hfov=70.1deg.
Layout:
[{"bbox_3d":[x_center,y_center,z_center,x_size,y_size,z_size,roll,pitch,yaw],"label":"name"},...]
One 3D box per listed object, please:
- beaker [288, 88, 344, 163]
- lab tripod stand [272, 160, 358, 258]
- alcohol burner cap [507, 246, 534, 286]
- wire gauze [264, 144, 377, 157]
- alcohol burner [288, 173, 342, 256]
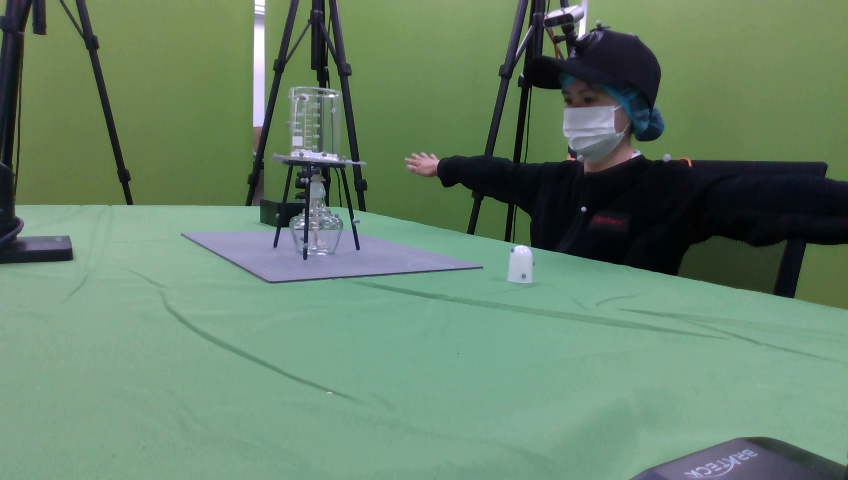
[{"bbox_3d":[-0.158,-0.160,0.859,0.084,0.100,0.074,5,6,20],"label":"beaker"},{"bbox_3d":[-0.159,-0.048,0.876,0.148,0.131,0.148,3,5,0],"label":"lab tripod stand"},{"bbox_3d":[0.119,0.032,0.740,0.034,0.048,0.034,1,6,0],"label":"alcohol burner cap"},{"bbox_3d":[-0.151,-0.128,0.869,0.122,0.011,0.124,-5,5,-35],"label":"wire gauze"},{"bbox_3d":[-0.157,-0.037,0.871,0.078,0.119,0.078,1,6,0],"label":"alcohol burner"}]
